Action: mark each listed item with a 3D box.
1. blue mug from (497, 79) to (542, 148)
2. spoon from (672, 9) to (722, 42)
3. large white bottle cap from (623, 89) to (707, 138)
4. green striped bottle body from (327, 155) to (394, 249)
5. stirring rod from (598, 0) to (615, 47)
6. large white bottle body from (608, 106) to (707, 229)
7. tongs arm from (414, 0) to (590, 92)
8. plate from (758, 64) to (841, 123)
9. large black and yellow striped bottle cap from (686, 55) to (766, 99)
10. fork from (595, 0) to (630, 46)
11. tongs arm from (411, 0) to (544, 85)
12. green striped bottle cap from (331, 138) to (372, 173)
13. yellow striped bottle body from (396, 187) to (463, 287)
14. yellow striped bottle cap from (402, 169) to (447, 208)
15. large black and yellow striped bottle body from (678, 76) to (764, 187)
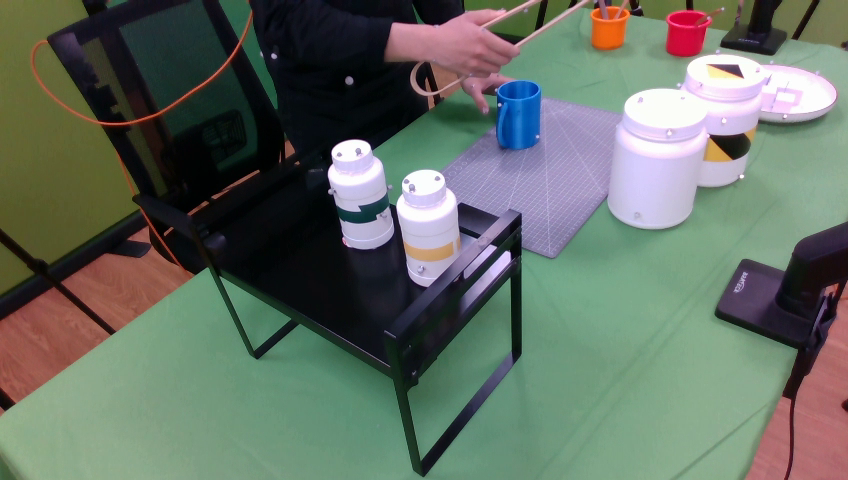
[{"bbox_3d":[0.175,-0.234,1.156,0.081,0.106,0.117,24,50,32],"label":"blue mug"},{"bbox_3d":[0.606,-0.476,1.345,0.042,0.021,0.193,-6,-3,-2],"label":"spoon"},{"bbox_3d":[0.352,-0.187,0.886,0.115,0.018,0.114,-4,41,4],"label":"large white bottle cap"},{"bbox_3d":[-0.073,-0.053,0.699,0.063,0.120,0.063,-5,41,4],"label":"green striped bottle body"},{"bbox_3d":[0.437,-0.551,1.462,0.014,0.006,0.175,-11,83,1],"label":"stirring rod"},{"bbox_3d":[0.361,-0.124,0.941,0.130,0.185,0.130,-5,41,4],"label":"large white bottle body"},{"bbox_3d":[0.154,-0.332,0.977,0.386,0.028,0.028,-25,15,21],"label":"tongs arm"},{"bbox_3d":[0.694,-0.283,1.189,0.207,0.039,0.206,-4,40,4],"label":"plate"},{"bbox_3d":[0.474,-0.258,0.952,0.115,0.019,0.114,-5,41,5],"label":"large black and yellow striped bottle cap"},{"bbox_3d":[0.480,-0.556,1.453,0.028,0.019,0.207,41,103,40],"label":"fork"},{"bbox_3d":[0.146,-0.346,0.974,0.383,0.051,0.026,-18,15,20],"label":"tongs arm"},{"bbox_3d":[-0.080,-0.093,0.665,0.044,0.020,0.044,-4,42,4],"label":"green striped bottle cap"},{"bbox_3d":[0.006,-0.013,0.638,0.063,0.121,0.062,-5,41,4],"label":"yellow striped bottle body"},{"bbox_3d":[0.000,-0.052,0.605,0.044,0.019,0.044,-5,42,5],"label":"yellow striped bottle cap"},{"bbox_3d":[0.482,-0.196,1.008,0.131,0.185,0.130,-4,41,4],"label":"large black and yellow striped bottle body"}]
